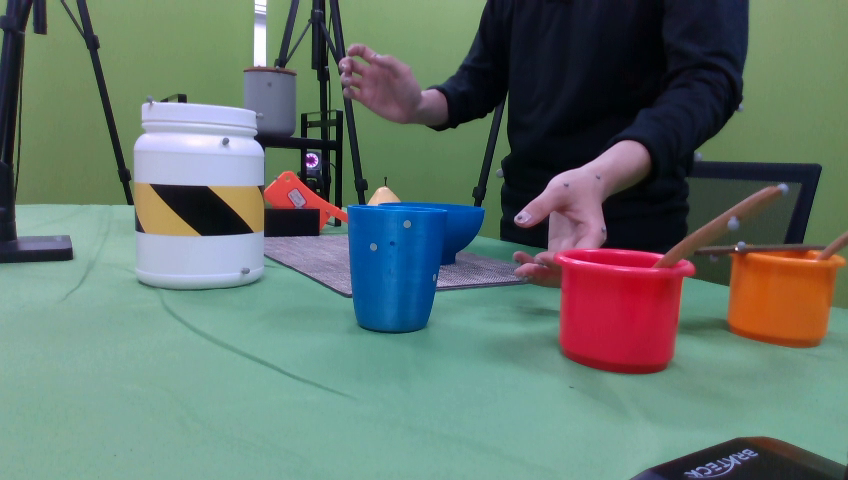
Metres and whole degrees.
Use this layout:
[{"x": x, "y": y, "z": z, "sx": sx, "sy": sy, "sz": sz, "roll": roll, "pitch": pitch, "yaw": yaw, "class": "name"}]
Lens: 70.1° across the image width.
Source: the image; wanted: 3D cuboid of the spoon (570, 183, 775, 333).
[{"x": 0.160, "y": 0.020, "z": 0.413, "sx": 0.042, "sy": 0.021, "sz": 0.193, "roll": 0, "pitch": -36, "yaw": -24, "class": "spoon"}]

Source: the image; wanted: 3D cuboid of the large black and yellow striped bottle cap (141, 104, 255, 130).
[{"x": -0.241, "y": -0.131, "z": 0.650, "sx": 0.115, "sy": 0.019, "sz": 0.115, "roll": 3, "pitch": 8, "yaw": 0, "class": "large black and yellow striped bottle cap"}]

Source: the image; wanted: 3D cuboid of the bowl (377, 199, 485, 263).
[{"x": 0.008, "y": -0.013, "z": 0.842, "sx": 0.151, "sy": 0.077, "sz": 0.151, "roll": 2, "pitch": 8, "yaw": 0, "class": "bowl"}]

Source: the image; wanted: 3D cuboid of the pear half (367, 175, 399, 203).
[{"x": -0.064, "y": -0.061, "z": 1.077, "sx": 0.055, "sy": 0.110, "sz": 0.077, "roll": 9, "pitch": 13, "yaw": 39, "class": "pear half"}]

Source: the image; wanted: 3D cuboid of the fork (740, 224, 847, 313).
[{"x": 0.323, "y": 0.013, "z": 0.485, "sx": 0.028, "sy": 0.018, "sz": 0.207, "roll": 8, "pitch": -37, "yaw": -6, "class": "fork"}]

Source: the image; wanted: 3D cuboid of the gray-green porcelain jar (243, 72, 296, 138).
[{"x": -0.322, "y": -0.279, "z": 1.263, "sx": 0.106, "sy": 0.126, "sz": 0.106, "roll": 3, "pitch": 8, "yaw": 0, "class": "gray-green porcelain jar"}]

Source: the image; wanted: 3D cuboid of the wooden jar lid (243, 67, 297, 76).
[{"x": -0.319, "y": -0.342, "z": 1.254, "sx": 0.108, "sy": 0.020, "sz": 0.108, "roll": 3, "pitch": 8, "yaw": 0, "class": "wooden jar lid"}]

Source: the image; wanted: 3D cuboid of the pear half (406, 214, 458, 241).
[{"x": 0.007, "y": -0.020, "z": 0.847, "sx": 0.070, "sy": 0.031, "sz": 0.088, "roll": 2, "pitch": 11, "yaw": 39, "class": "pear half"}]

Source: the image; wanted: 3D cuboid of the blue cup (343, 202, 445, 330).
[{"x": -0.027, "y": 0.020, "z": 0.510, "sx": 0.093, "sy": 0.100, "sz": 0.092, "roll": 3, "pitch": 5, "yaw": 0, "class": "blue cup"}]

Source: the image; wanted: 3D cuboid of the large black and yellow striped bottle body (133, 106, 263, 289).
[{"x": -0.243, "y": -0.048, "z": 0.659, "sx": 0.131, "sy": 0.184, "sz": 0.130, "roll": 2, "pitch": 7, "yaw": 0, "class": "large black and yellow striped bottle body"}]

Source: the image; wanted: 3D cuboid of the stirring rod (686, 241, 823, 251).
[{"x": 0.289, "y": 0.005, "z": 0.525, "sx": 0.177, "sy": 0.006, "sz": 0.014, "roll": -1, "pitch": 5, "yaw": -26, "class": "stirring rod"}]

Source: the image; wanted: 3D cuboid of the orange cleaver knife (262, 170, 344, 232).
[{"x": -0.201, "y": -0.056, "z": 1.136, "sx": 0.212, "sy": 0.077, "sz": 0.012, "roll": 31, "pitch": -4, "yaw": -31, "class": "orange cleaver knife"}]
